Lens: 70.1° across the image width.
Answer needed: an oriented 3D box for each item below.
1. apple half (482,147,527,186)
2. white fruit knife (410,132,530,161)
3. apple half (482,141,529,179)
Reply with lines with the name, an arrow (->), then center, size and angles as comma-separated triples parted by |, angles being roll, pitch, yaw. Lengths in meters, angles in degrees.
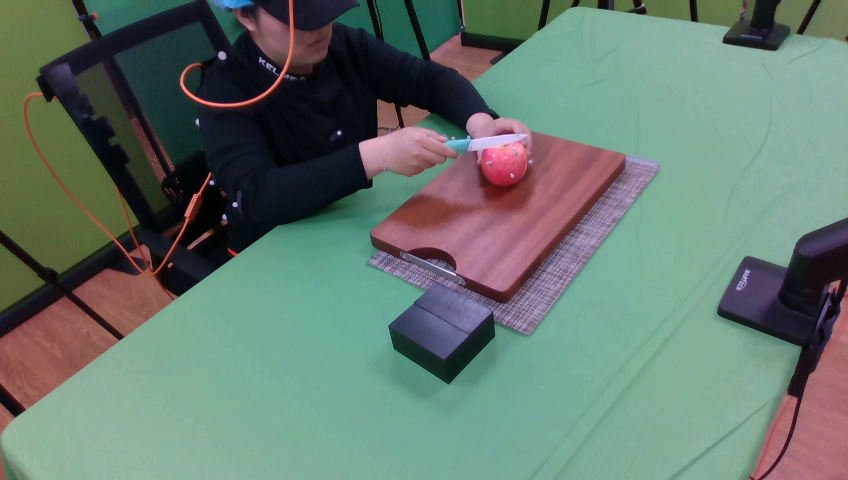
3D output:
apple half -> 0.134, -0.118, 1.014 | 0.081, 0.081, 0.032 | 2, 38, 14
white fruit knife -> 0.074, -0.159, 1.009 | 0.207, 0.027, 0.016 | -8, 43, 13
apple half -> 0.143, -0.142, 1.043 | 0.080, 0.075, 0.053 | -1, 36, 17
